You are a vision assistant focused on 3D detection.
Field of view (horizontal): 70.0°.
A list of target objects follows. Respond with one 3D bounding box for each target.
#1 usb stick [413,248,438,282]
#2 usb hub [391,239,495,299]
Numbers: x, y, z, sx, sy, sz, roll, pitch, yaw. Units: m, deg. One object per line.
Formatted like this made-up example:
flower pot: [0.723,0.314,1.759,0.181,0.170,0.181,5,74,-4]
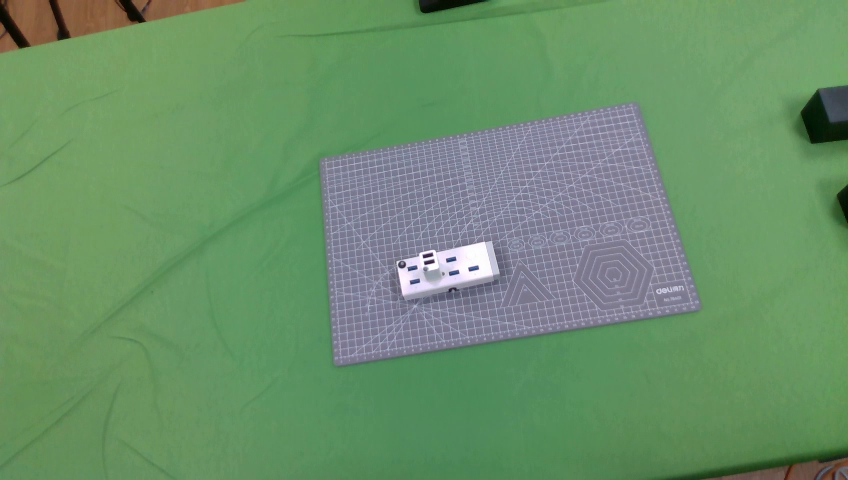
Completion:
usb stick: [0.003,0.033,0.737,0.021,0.059,0.027,-16,65,2]
usb hub: [0.024,0.036,0.764,0.125,0.025,0.049,-13,67,1]
